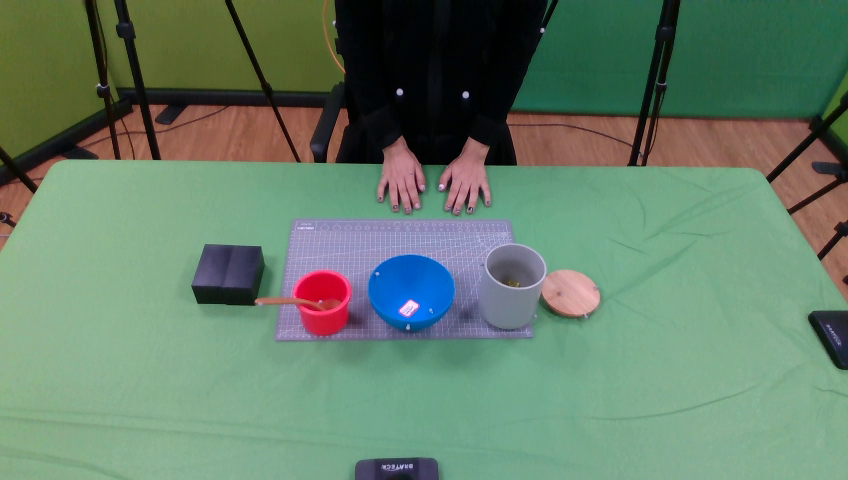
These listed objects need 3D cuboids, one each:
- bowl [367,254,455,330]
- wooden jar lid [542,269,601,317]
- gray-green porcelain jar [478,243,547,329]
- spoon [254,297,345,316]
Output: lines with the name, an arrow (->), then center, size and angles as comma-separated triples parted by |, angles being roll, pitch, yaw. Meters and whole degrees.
bowl -> -0.023, 0.104, 1.053 | 0.151, 0.077, 0.150 | 2, 46, -2
wooden jar lid -> 0.272, 0.100, 1.121 | 0.108, 0.021, 0.107 | 2, 46, -2
gray-green porcelain jar -> 0.150, 0.085, 1.049 | 0.106, 0.127, 0.105 | 2, 46, -2
spoon -> -0.200, 0.104, 0.995 | 0.041, 0.021, 0.195 | 46, 15, 32
